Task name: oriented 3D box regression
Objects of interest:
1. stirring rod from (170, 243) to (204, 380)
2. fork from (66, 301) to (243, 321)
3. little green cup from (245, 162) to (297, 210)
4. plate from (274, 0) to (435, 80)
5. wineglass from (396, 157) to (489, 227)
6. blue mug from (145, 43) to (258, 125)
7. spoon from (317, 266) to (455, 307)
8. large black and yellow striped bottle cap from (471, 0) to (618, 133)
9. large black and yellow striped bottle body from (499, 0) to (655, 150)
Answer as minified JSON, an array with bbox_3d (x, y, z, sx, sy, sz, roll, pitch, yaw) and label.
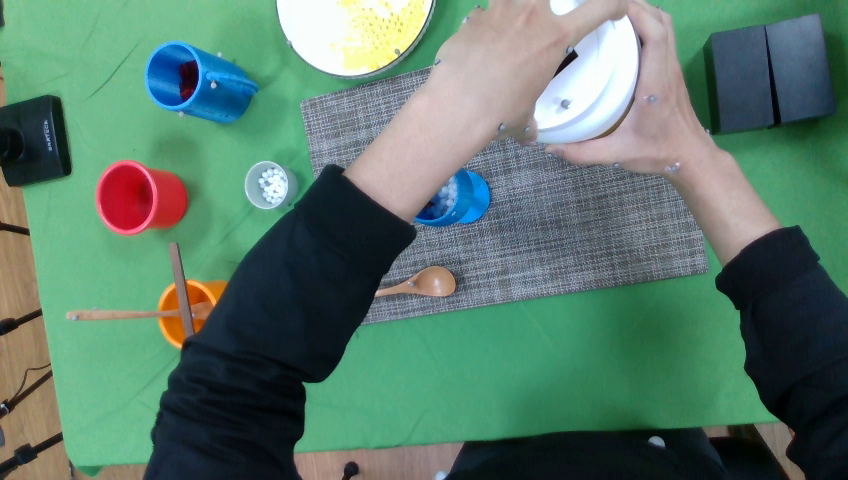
[{"bbox_3d":[-0.301,0.090,0.770,0.014,0.006,0.176,-11,90,15],"label":"stirring rod"},{"bbox_3d":[-0.342,0.095,0.783,0.208,0.018,0.028,1,101,-28],"label":"fork"},{"bbox_3d":[-0.198,-0.070,0.793,0.061,0.039,0.061,1,94,16],"label":"little green cup"},{"bbox_3d":[-0.085,-0.301,0.750,0.208,0.038,0.209,1,94,15],"label":"plate"},{"bbox_3d":[0.025,-0.050,0.660,0.073,0.172,0.074,1,92,15],"label":"wineglass"},{"bbox_3d":[-0.271,-0.195,0.771,0.116,0.106,0.082,4,93,15],"label":"blue mug"},{"bbox_3d":[-0.052,0.065,0.765,0.193,0.021,0.042,-12,111,16],"label":"spoon"},{"bbox_3d":[0.091,-0.141,0.471,0.114,0.019,0.115,3,97,28],"label":"large black and yellow striped bottle cap"},{"bbox_3d":[0.130,-0.150,0.545,0.130,0.184,0.131,3,97,27],"label":"large black and yellow striped bottle body"}]
